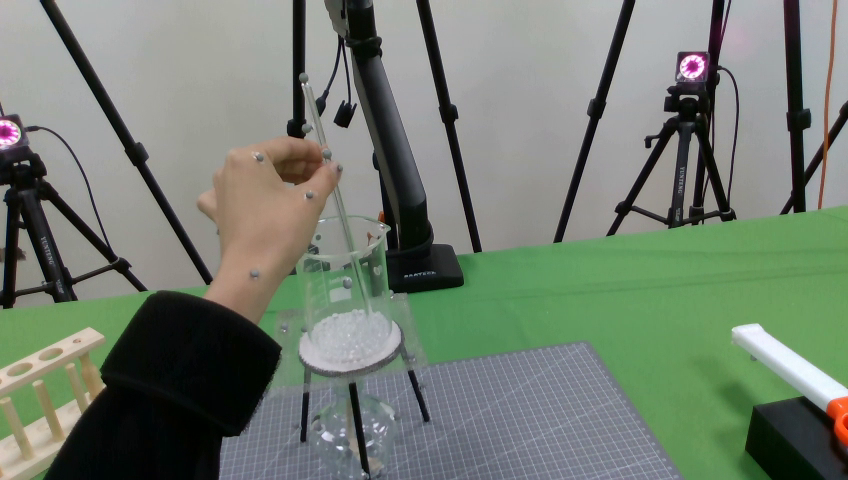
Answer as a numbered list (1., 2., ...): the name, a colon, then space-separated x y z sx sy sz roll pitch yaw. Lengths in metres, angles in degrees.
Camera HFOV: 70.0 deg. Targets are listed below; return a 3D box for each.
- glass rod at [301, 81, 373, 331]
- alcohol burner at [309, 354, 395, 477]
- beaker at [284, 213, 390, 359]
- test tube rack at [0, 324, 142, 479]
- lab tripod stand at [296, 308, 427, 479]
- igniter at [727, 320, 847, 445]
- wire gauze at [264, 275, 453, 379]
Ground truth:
1. glass rod: -0.064 -0.018 0.454 0.008 0.201 0.008 -10 22 4
2. alcohol burner: -0.065 0.150 0.538 0.078 0.120 0.077 -2 25 1
3. beaker: -0.063 0.037 0.486 0.084 0.101 0.073 -18 30 -26
4. test tube rack: -0.405 0.180 0.568 0.066 0.086 0.242 15 32 35
5. lab tripod stand: -0.056 0.140 0.535 0.148 0.132 0.147 -2 27 1
6. igniter: 0.347 0.139 0.495 0.057 0.025 0.274 -8 22 -7
7. wire gauze: -0.057 0.068 0.496 0.125 0.011 0.120 -13 24 -27
